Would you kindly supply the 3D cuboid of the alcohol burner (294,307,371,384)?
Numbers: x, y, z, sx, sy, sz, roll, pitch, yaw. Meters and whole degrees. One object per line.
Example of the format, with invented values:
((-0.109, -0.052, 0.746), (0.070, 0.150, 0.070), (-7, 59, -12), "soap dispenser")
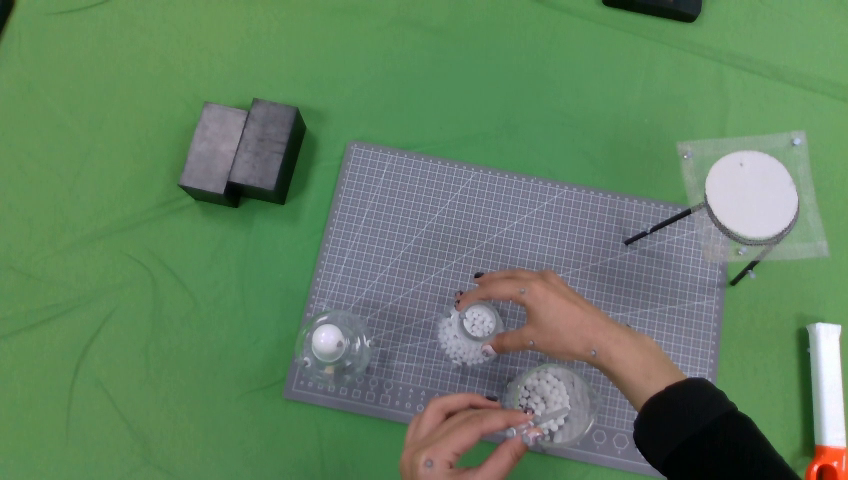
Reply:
((-0.093, 0.102, 0.599), (0.078, 0.119, 0.077), (1, 75, -2), "alcohol burner")

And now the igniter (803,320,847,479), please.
((0.417, 0.222, 0.626), (0.057, 0.025, 0.275), (8, 77, -10), "igniter")

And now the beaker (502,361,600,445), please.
((0.119, 0.159, 0.597), (0.084, 0.100, 0.073), (-6, 76, -3), "beaker")

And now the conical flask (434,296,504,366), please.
((0.049, 0.085, 0.601), (0.075, 0.122, 0.075), (0, 76, 0), "conical flask")

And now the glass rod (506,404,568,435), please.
((0.096, 0.144, 0.490), (0.008, 0.201, 0.008), (-4, 78, 23), "glass rod")

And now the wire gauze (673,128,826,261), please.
((0.303, -0.042, 0.562), (0.125, 0.011, 0.121), (-4, 78, -2), "wire gauze")

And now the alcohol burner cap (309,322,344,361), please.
((-0.091, 0.092, 0.564), (0.034, 0.048, 0.033), (3, 70, -8), "alcohol burner cap")

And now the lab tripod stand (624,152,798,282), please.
((0.300, -0.023, 0.627), (0.148, 0.132, 0.147), (0, 78, -1), "lab tripod stand")
